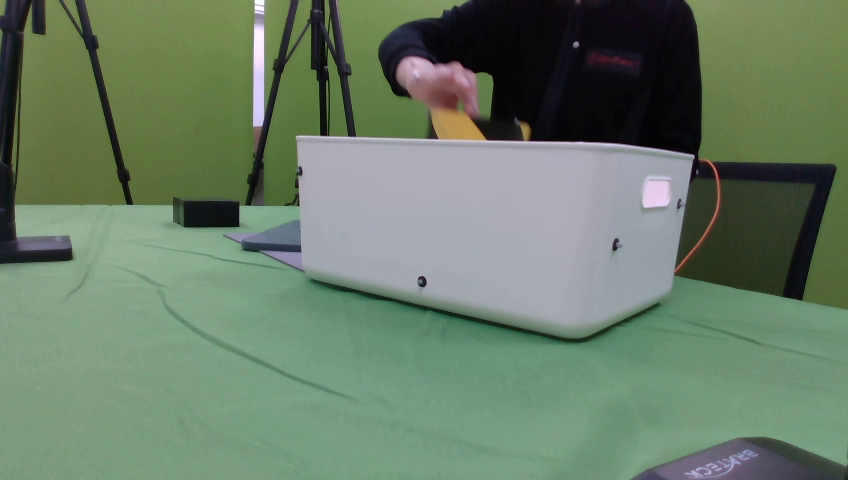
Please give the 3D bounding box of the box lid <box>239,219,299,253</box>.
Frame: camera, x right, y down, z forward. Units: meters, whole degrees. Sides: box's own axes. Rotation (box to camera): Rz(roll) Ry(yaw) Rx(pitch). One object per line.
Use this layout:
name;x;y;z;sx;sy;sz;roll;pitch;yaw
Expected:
box lid;-0.141;-0.007;1.057;0.263;0.015;0.371;4;7;0

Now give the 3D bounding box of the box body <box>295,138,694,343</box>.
box body;0.065;-0.020;0.653;0.362;0.160;0.255;9;9;36

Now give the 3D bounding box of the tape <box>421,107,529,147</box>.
tape;0.056;-0.108;0.655;0.117;0.052;0.117;10;11;-1
